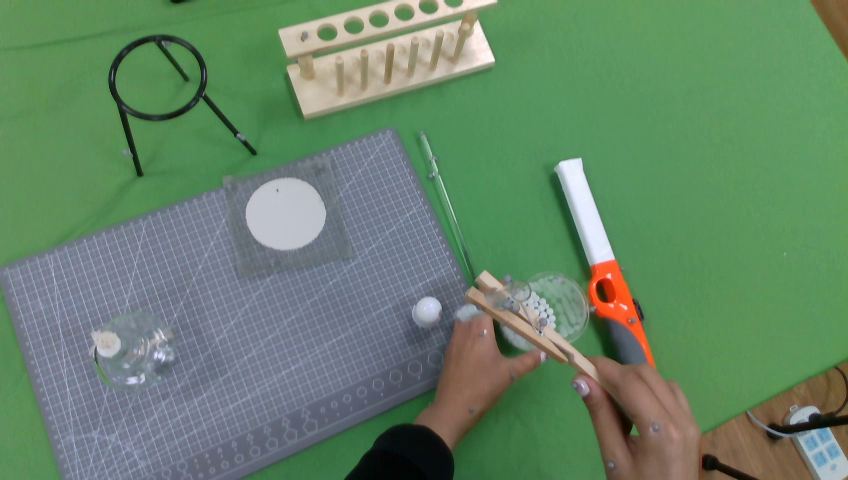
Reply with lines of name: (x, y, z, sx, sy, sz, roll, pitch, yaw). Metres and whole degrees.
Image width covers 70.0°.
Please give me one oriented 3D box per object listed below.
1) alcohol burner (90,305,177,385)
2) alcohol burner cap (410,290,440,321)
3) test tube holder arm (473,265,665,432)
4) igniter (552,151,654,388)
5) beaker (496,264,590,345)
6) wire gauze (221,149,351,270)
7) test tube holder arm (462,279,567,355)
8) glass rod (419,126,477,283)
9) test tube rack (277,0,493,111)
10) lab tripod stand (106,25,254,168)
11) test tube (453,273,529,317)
alcohol burner: (-0.280, 0.097, 0.573, 0.078, 0.119, 0.077, 1, 76, -3)
alcohol burner cap: (0.003, 0.068, 0.648, 0.034, 0.048, 0.033, 1, 77, -5)
test tube holder arm: (0.106, 0.080, 0.444, 0.178, 0.015, 0.013, 39, 76, 0)
igniter: (0.203, 0.029, 0.690, 0.057, 0.025, 0.275, -12, 78, -19)
beaker: (0.116, 0.071, 0.633, 0.084, 0.100, 0.073, 8, 75, -3)
wire gauze: (-0.154, -0.035, 0.673, 0.125, 0.011, 0.121, -11, 79, -9)
test tube holder arm: (0.067, 0.057, 0.442, 0.088, 0.015, 0.010, 33, 76, -2)
glass rod: (0.028, -0.040, 0.696, 0.008, 0.008, 0.199, -17, 81, -10)
test tube rack: (-0.036, -0.228, 0.695, 0.242, 0.085, 0.066, -19, 79, -10)
lab tripod stand: (-0.258, -0.142, 0.626, 0.148, 0.132, 0.147, 1, 78, -6)
test tube: (0.047, 0.045, 0.464, 0.017, 0.150, 0.017, 3, 77, -11)
